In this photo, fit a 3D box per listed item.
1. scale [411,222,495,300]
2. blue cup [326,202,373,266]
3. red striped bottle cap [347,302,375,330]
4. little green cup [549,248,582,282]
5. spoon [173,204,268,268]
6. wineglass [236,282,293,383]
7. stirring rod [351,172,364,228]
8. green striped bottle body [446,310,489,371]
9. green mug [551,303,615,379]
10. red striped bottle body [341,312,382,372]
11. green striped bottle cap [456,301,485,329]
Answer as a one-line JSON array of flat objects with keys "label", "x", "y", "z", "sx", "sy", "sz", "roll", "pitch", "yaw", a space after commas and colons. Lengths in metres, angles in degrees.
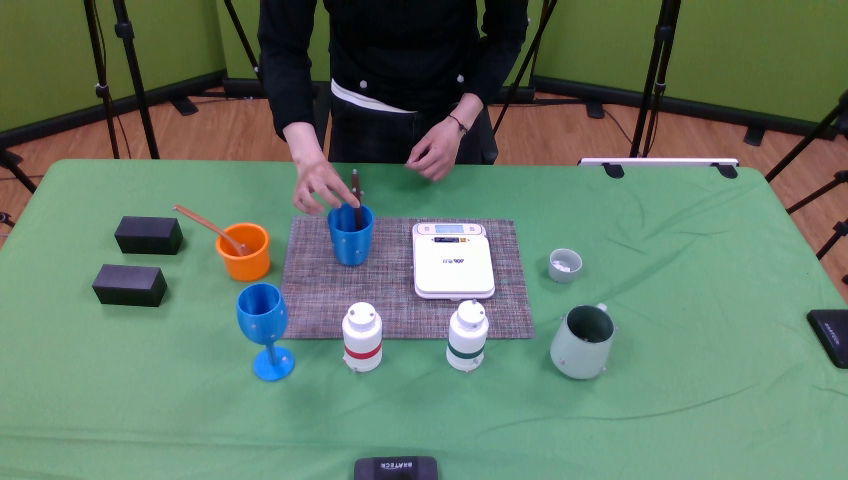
[{"label": "scale", "x": 0.052, "y": 0.031, "z": 1.158, "sx": 0.149, "sy": 0.032, "sz": 0.199, "roll": 1, "pitch": 46, "yaw": -4}, {"label": "blue cup", "x": -0.137, "y": -0.006, "z": 1.131, "sx": 0.093, "sy": 0.101, "sz": 0.092, "roll": 3, "pitch": 44, "yaw": -2}, {"label": "red striped bottle cap", "x": -0.097, "y": 0.116, "z": 0.934, "sx": 0.044, "sy": 0.018, "sz": 0.044, "roll": 2, "pitch": 48, "yaw": -2}, {"label": "little green cup", "x": 0.268, "y": 0.050, "z": 1.156, "sx": 0.061, "sy": 0.039, "sz": 0.061, "roll": 1, "pitch": 46, "yaw": -1}, {"label": "spoon", "x": -0.363, "y": -0.008, "z": 1.089, "sx": 0.021, "sy": 0.195, "sz": 0.041, "roll": -33, "pitch": 32, "yaw": 26}, {"label": "wineglass", "x": -0.243, "y": 0.143, "z": 0.934, "sx": 0.074, "sy": 0.173, "sz": 0.073, "roll": 2, "pitch": 46, "yaw": -2}, {"label": "stirring rod", "x": -0.118, "y": -0.050, "z": 1.094, "sx": 0.014, "sy": 0.177, "sz": 0.006, "roll": -3, "pitch": 42, "yaw": -2}, {"label": "green striped bottle body", "x": 0.070, "y": 0.155, "z": 0.984, "sx": 0.063, "sy": 0.120, "sz": 0.063, "roll": 2, "pitch": 46, "yaw": -2}, {"label": "green mug", "x": 0.271, "y": 0.158, "z": 1.007, "sx": 0.092, "sy": 0.105, "sz": 0.125, "roll": 27, "pitch": 50, "yaw": 21}, {"label": "red striped bottle body", "x": -0.100, "y": 0.154, "z": 0.972, "sx": 0.063, "sy": 0.120, "sz": 0.062, "roll": 2, "pitch": 46, "yaw": -1}, {"label": "green striped bottle cap", "x": 0.073, "y": 0.116, "z": 0.943, "sx": 0.044, "sy": 0.020, "sz": 0.044, "roll": 3, "pitch": 46, "yaw": -3}]
